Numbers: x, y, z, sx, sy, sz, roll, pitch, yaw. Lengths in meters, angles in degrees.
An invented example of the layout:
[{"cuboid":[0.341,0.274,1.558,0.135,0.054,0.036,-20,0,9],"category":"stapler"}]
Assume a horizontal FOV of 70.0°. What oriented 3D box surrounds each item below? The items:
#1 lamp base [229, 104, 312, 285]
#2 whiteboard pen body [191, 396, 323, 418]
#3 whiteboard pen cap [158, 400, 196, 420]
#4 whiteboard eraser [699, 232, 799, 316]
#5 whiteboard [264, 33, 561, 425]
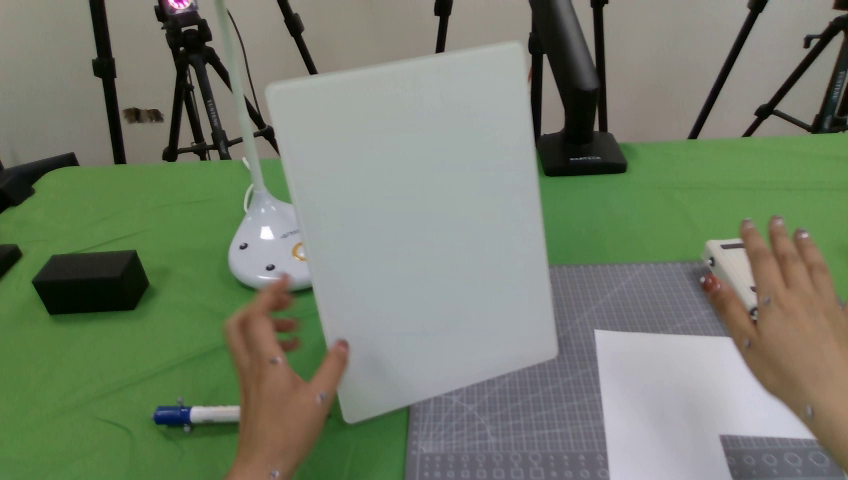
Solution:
[{"cuboid":[-0.177,-0.063,0.723,0.177,0.182,0.160,25,44,38],"category":"lamp base"},{"cuboid":[-0.163,0.154,0.553,0.141,0.017,0.017,-2,35,-2],"category":"whiteboard pen body"},{"cuboid":[-0.223,0.155,0.552,0.033,0.018,0.018,1,35,-4],"category":"whiteboard pen cap"},{"cuboid":[0.342,0.037,0.645,0.055,0.042,0.111,-3,35,-1],"category":"whiteboard eraser"},{"cuboid":[-0.011,-0.020,0.587,0.217,0.307,0.143,-14,18,-13],"category":"whiteboard"}]
